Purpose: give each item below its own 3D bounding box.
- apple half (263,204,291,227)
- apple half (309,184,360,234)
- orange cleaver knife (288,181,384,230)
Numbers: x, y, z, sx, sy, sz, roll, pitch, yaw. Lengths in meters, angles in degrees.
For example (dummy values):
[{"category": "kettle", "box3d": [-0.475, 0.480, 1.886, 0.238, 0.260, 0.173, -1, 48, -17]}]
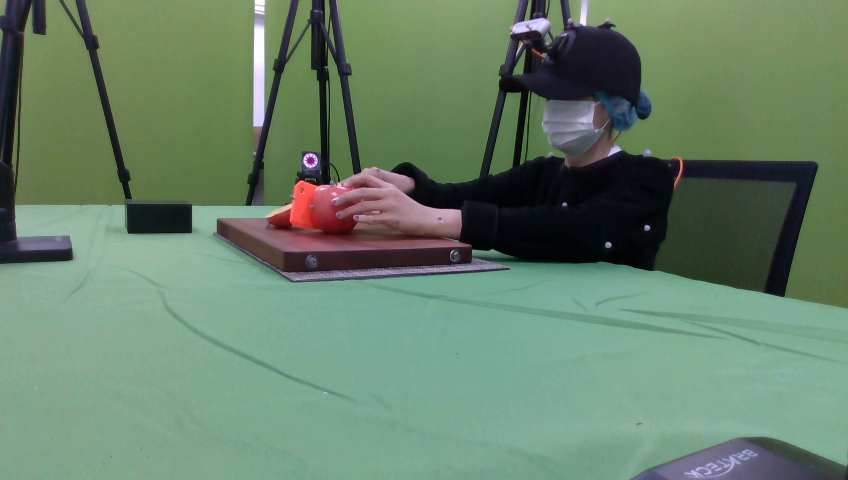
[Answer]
[{"category": "apple half", "box3d": [-0.211, -0.040, 0.956, 0.081, 0.033, 0.081, -21, 11, 5]}, {"category": "apple half", "box3d": [-0.127, -0.045, 0.909, 0.053, 0.074, 0.081, 14, 8, 36]}, {"category": "orange cleaver knife", "box3d": [-0.134, -0.055, 0.958, 0.012, 0.077, 0.212, 2, 5, 36]}]
